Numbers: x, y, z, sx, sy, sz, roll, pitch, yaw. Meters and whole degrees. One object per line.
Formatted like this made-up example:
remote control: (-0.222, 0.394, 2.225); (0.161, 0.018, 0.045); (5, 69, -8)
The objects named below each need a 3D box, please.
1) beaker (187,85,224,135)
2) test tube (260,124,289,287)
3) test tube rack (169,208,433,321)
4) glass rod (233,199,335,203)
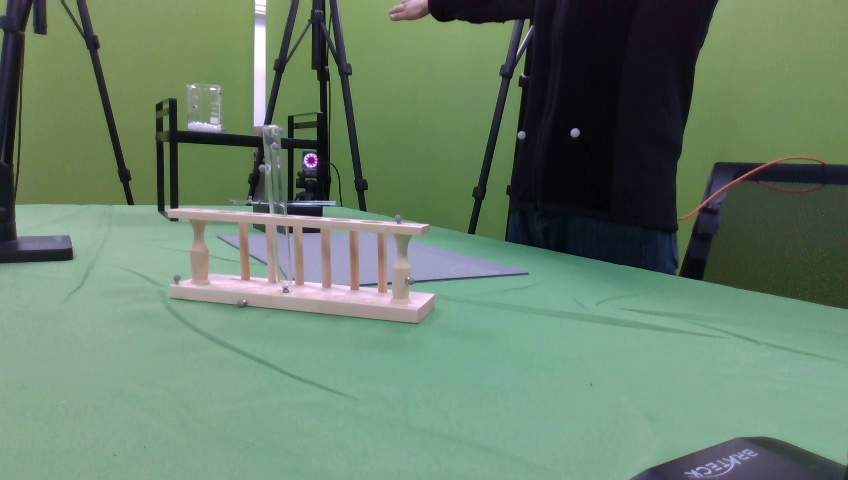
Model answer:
beaker: (-0.466, -0.275, 1.286); (0.074, 0.100, 0.084); (5, 8, 22)
test tube: (-0.137, -0.031, 0.556); (0.017, 0.150, 0.017); (-3, 6, 1)
test tube rack: (-0.115, 0.018, 0.574); (0.242, 0.085, 0.067); (4, 8, 13)
glass rod: (-0.264, -0.076, 1.160); (0.201, 0.008, 0.008); (-2, 9, -31)
